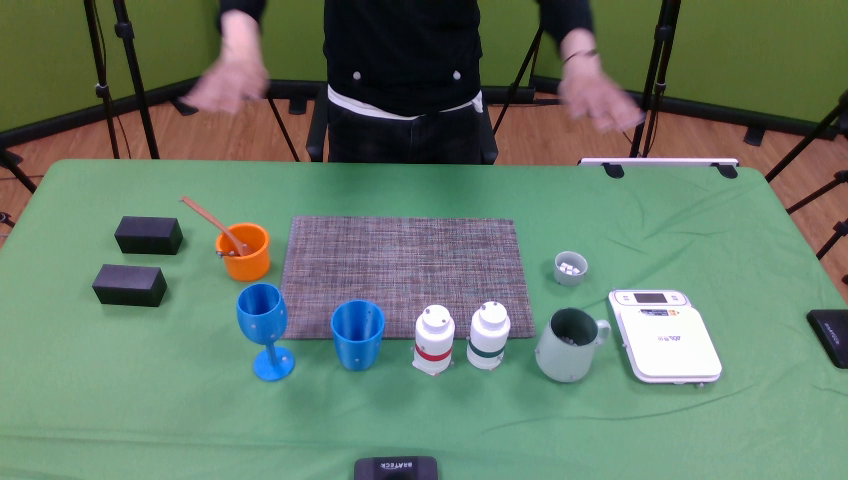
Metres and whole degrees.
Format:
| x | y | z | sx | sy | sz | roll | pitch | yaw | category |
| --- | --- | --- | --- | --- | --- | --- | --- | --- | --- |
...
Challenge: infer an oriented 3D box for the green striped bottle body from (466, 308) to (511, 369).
| x | y | z | sx | sy | sz | roll | pitch | yaw | category |
| --- | --- | --- | --- | --- | --- | --- | --- | --- | --- |
| 0.105 | 0.154 | 0.988 | 0.063 | 0.120 | 0.063 | 2 | 46 | -2 | green striped bottle body |

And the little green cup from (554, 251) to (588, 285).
| x | y | z | sx | sy | sz | roll | pitch | yaw | category |
| --- | --- | --- | --- | --- | --- | --- | --- | --- | --- |
| 0.276 | 0.055 | 1.151 | 0.061 | 0.039 | 0.061 | 1 | 46 | -1 | little green cup |

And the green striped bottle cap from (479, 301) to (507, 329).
| x | y | z | sx | sy | sz | roll | pitch | yaw | category |
| --- | --- | --- | --- | --- | --- | --- | --- | --- | --- |
| 0.109 | 0.118 | 0.950 | 0.044 | 0.020 | 0.044 | 2 | 47 | -2 | green striped bottle cap |

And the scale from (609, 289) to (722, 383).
| x | y | z | sx | sy | sz | roll | pitch | yaw | category |
| --- | --- | --- | --- | --- | --- | --- | --- | --- | --- |
| 0.419 | 0.159 | 1.066 | 0.149 | 0.032 | 0.199 | 1 | 46 | -4 | scale |

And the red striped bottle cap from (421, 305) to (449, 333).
| x | y | z | sx | sy | sz | roll | pitch | yaw | category |
| --- | --- | --- | --- | --- | --- | --- | --- | --- | --- |
| 0.018 | 0.122 | 0.938 | 0.044 | 0.018 | 0.044 | 3 | 44 | -2 | red striped bottle cap |

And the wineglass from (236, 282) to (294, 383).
| x | y | z | sx | sy | sz | roll | pitch | yaw | category |
| --- | --- | --- | --- | --- | --- | --- | --- | --- | --- |
| -0.242 | 0.143 | 0.934 | 0.074 | 0.173 | 0.073 | 2 | 46 | -2 | wineglass |

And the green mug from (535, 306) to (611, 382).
| x | y | z | sx | sy | sz | roll | pitch | yaw | category |
| --- | --- | --- | --- | --- | --- | --- | --- | --- | --- |
| 0.250 | 0.167 | 0.996 | 0.125 | 0.105 | 0.092 | -15 | 48 | -18 | green mug |

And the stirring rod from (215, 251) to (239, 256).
| x | y | z | sx | sy | sz | roll | pitch | yaw | category |
| --- | --- | --- | --- | --- | --- | --- | --- | --- | --- |
| -0.339 | 0.024 | 1.059 | 0.014 | 0.176 | 0.006 | 16 | 86 | -6 | stirring rod |

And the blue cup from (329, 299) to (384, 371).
| x | y | z | sx | sy | sz | roll | pitch | yaw | category |
| --- | --- | --- | --- | --- | --- | --- | --- | --- | --- |
| -0.109 | 0.160 | 0.979 | 0.093 | 0.101 | 0.092 | 4 | 45 | -3 | blue cup |

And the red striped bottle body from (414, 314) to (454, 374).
| x | y | z | sx | sy | sz | roll | pitch | yaw | category |
| --- | --- | --- | --- | --- | --- | --- | --- | --- | --- |
| 0.016 | 0.158 | 0.977 | 0.063 | 0.120 | 0.062 | 1 | 46 | -1 | red striped bottle body |

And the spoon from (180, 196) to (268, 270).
| x | y | z | sx | sy | sz | roll | pitch | yaw | category |
| --- | --- | --- | --- | --- | --- | --- | --- | --- | --- |
| -0.359 | -0.014 | 1.094 | 0.021 | 0.194 | 0.041 | -27 | 26 | 32 | spoon |
